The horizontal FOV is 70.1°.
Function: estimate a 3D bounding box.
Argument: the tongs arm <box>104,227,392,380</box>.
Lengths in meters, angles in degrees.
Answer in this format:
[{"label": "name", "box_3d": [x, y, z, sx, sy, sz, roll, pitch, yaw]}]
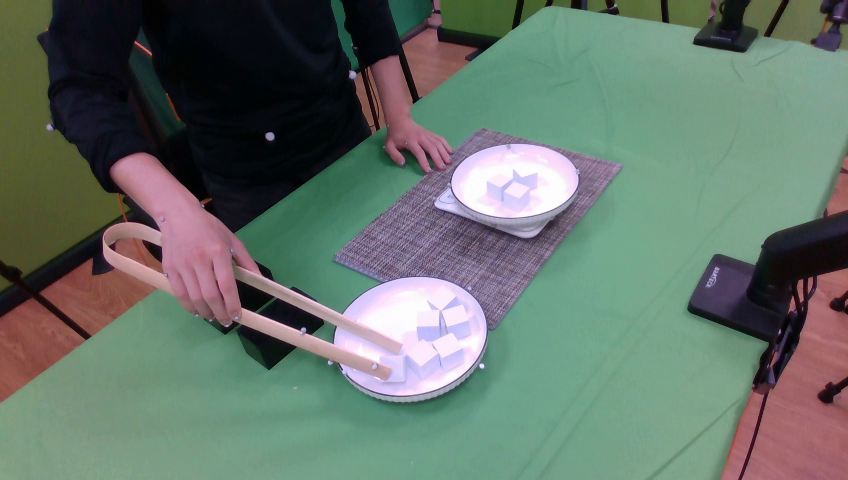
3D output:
[{"label": "tongs arm", "box_3d": [-0.216, 0.078, 0.741, 0.385, 0.026, 0.050, 22, 42, -3]}]

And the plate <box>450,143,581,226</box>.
[{"label": "plate", "box_3d": [0.148, -0.087, 0.986, 0.209, 0.038, 0.208, -4, 41, 4]}]

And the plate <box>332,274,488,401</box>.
[{"label": "plate", "box_3d": [-0.017, 0.130, 0.808, 0.207, 0.039, 0.206, -4, 41, 4]}]

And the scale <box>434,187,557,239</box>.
[{"label": "scale", "box_3d": [0.132, -0.074, 1.025, 0.199, 0.032, 0.149, 22, 48, 30]}]

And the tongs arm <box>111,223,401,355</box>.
[{"label": "tongs arm", "box_3d": [-0.208, 0.062, 0.762, 0.388, 0.028, 0.028, 24, 45, -1]}]
